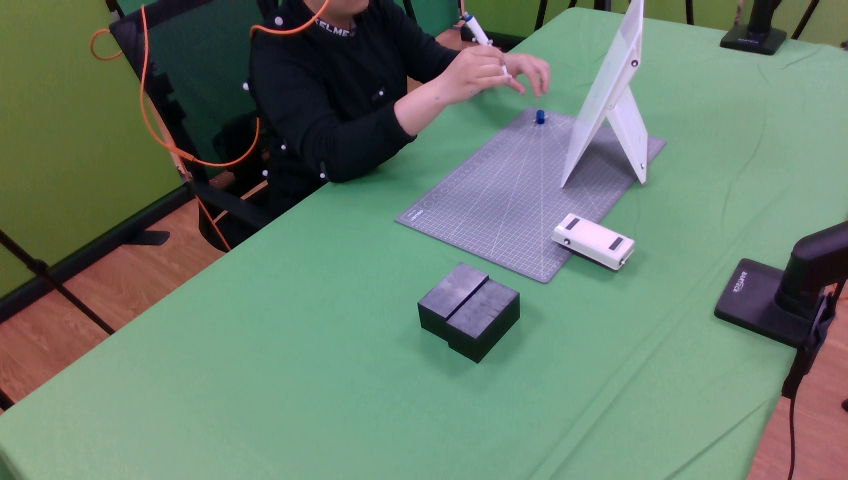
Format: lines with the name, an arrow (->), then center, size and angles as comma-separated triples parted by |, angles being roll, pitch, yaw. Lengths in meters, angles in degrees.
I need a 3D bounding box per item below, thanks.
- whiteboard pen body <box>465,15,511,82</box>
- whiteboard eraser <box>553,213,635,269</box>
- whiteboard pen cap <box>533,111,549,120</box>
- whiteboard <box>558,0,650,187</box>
whiteboard pen body -> 0.112, -0.324, 1.033 | 0.017, 0.142, 0.017 | -28, 35, 23
whiteboard eraser -> 0.258, 0.003, 0.918 | 0.112, 0.042, 0.056 | 27, 49, 30
whiteboard pen cap -> 0.239, -0.256, 1.238 | 0.018, 0.018, 0.033 | -27, 28, -21
whiteboard -> 0.362, -0.238, 1.026 | 0.144, 0.306, 0.217 | 21, 44, 4
